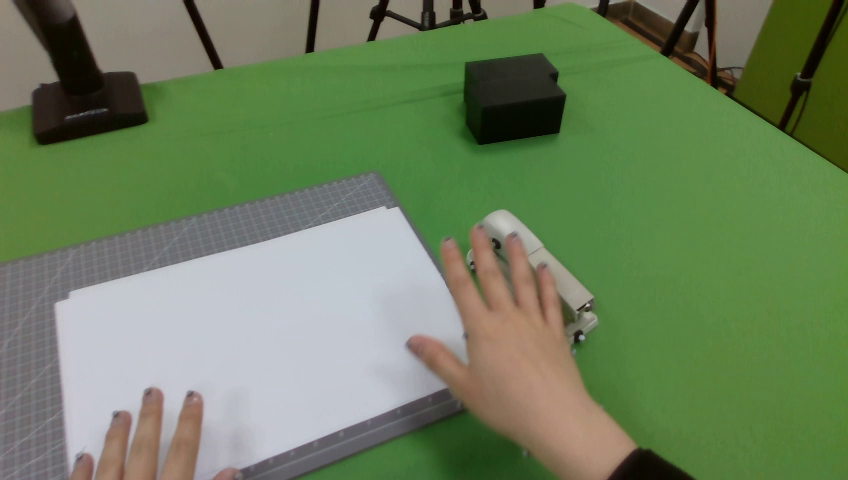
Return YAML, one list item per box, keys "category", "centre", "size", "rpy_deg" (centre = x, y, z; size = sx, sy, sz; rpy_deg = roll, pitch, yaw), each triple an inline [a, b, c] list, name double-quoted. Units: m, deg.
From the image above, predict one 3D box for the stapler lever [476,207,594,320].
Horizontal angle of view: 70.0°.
- category: "stapler lever"
  centre: [0.090, 0.016, 0.501]
  size: [0.027, 0.040, 0.117]
  rpy_deg: [-31, 54, -27]

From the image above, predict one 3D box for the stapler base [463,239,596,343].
- category: "stapler base"
  centre: [0.088, 0.034, 0.520]
  size: [0.041, 0.024, 0.129]
  rpy_deg: [-31, 54, -27]
